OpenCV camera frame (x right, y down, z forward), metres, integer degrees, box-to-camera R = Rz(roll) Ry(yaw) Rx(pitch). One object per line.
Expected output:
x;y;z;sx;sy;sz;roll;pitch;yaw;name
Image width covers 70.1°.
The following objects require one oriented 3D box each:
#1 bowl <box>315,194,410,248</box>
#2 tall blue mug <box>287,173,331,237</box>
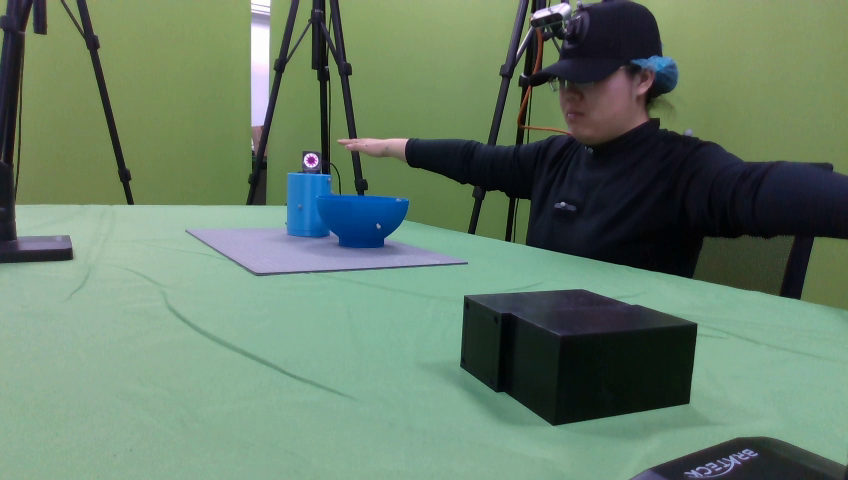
-0.100;-0.031;0.971;0.151;0.077;0.151;2;7;0;bowl
-0.207;-0.066;1.088;0.078;0.108;0.107;0;8;-12;tall blue mug
